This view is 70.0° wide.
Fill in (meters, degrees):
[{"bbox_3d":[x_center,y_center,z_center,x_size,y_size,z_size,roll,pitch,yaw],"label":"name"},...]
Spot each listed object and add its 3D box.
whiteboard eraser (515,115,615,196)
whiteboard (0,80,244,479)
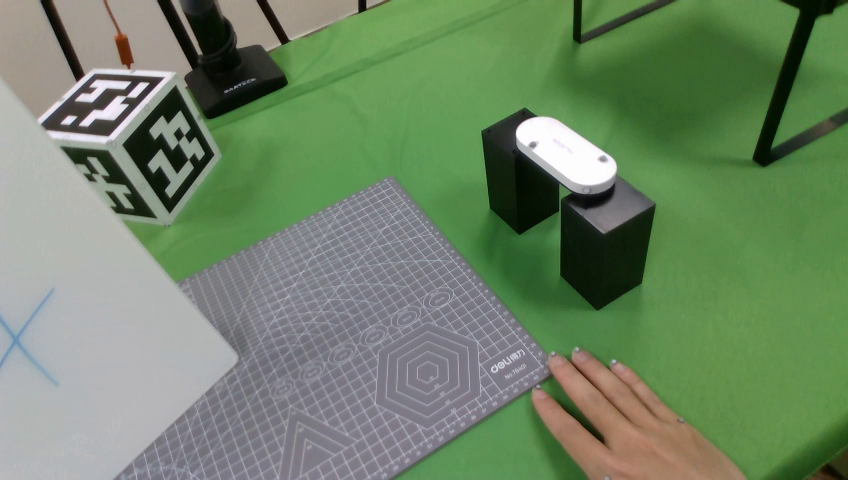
[{"bbox_3d":[0.114,-0.072,0.497,0.041,0.019,0.100,-30,51,-16],"label":"whiteboard eraser"},{"bbox_3d":[-0.334,0.051,0.466,0.142,0.308,0.217,15,52,48],"label":"whiteboard"}]
